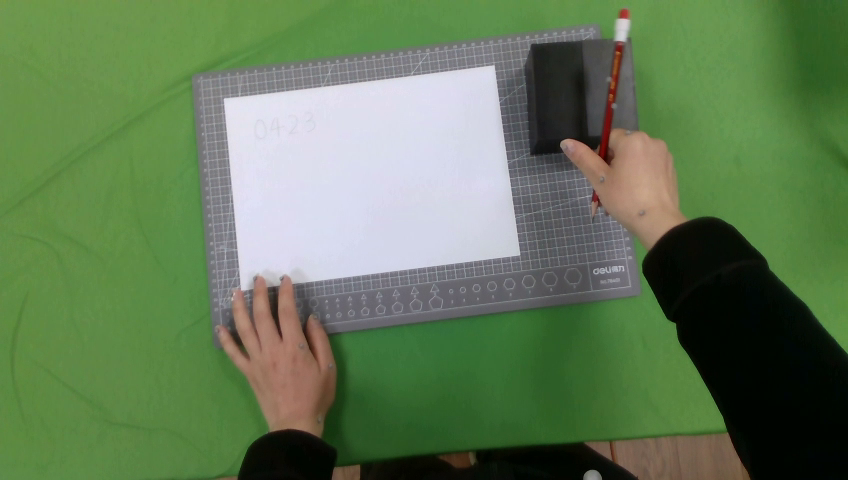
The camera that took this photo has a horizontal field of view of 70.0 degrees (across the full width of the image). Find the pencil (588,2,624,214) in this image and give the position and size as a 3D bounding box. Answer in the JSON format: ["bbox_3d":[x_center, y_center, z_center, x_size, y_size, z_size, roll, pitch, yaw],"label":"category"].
[{"bbox_3d":[0.168,-0.120,0.565,0.012,0.012,0.194,6,98,2],"label":"pencil"}]
